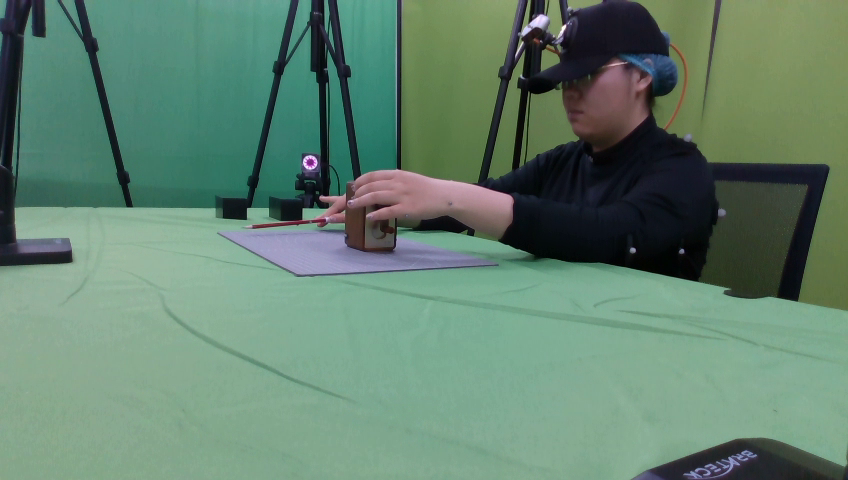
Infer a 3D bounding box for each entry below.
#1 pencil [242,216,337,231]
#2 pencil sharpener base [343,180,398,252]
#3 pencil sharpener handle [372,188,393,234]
[{"bbox_3d":[-0.243,-0.030,1.112,0.195,0.012,0.012,-10,13,-41],"label":"pencil"},{"bbox_3d":[-0.084,-0.038,0.956,0.062,0.107,0.076,-1,9,-33],"label":"pencil sharpener base"},{"bbox_3d":[-0.057,-0.044,0.912,0.036,0.067,0.030,-1,9,-33],"label":"pencil sharpener handle"}]
